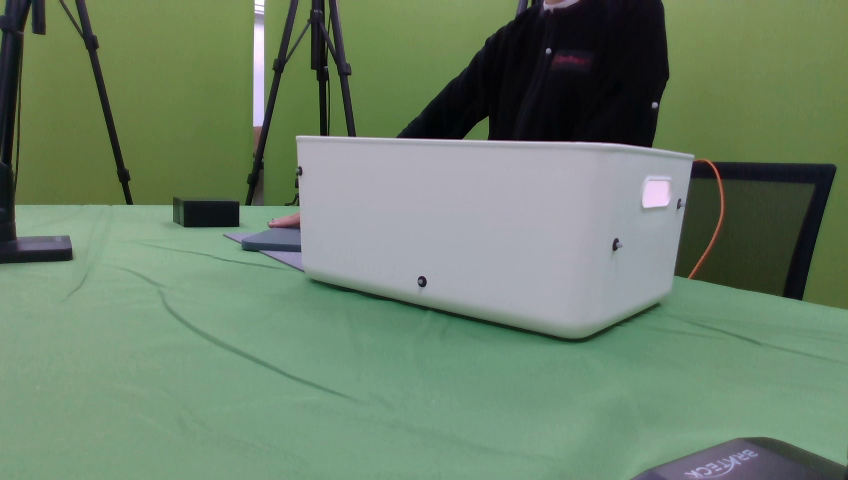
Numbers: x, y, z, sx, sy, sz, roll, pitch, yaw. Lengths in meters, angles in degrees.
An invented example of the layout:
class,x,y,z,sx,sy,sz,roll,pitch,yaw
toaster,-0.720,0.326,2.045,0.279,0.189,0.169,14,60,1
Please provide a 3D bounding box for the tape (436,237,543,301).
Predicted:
class,x,y,z,sx,sy,sz,roll,pitch,yaw
tape,0.073,0.029,0.658,0.117,0.052,0.117,3,7,0

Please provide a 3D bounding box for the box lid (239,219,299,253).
class,x,y,z,sx,sy,sz,roll,pitch,yaw
box lid,-0.141,-0.007,1.057,0.263,0.015,0.371,4,7,0

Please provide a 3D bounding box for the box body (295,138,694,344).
class,x,y,z,sx,sy,sz,roll,pitch,yaw
box body,0.065,-0.020,0.653,0.362,0.160,0.255,9,9,36
